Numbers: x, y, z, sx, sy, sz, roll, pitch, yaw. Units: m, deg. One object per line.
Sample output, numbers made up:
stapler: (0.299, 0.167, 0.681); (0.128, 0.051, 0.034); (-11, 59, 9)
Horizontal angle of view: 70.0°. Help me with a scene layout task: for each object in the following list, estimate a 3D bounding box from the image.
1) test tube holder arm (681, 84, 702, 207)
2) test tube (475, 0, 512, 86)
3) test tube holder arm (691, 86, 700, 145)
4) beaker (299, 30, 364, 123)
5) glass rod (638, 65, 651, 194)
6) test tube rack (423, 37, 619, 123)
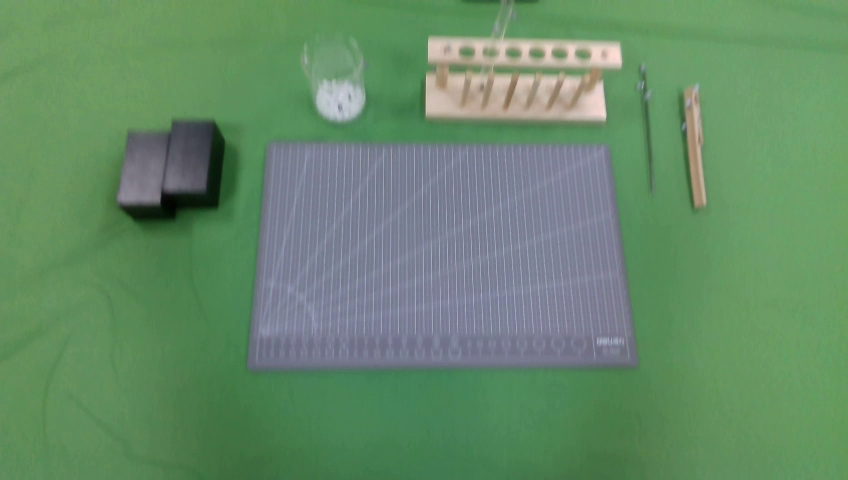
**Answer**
test tube holder arm: (0.355, -0.127, 0.805); (0.013, 0.015, 0.177); (16, 68, -28)
test tube: (0.084, -0.242, 0.748); (0.017, 0.151, 0.017); (3, 65, -6)
test tube holder arm: (0.364, -0.168, 0.823); (0.010, 0.015, 0.087); (17, 67, -28)
beaker: (-0.114, -0.200, 0.769); (0.074, 0.101, 0.083); (3, 70, -1)
glass rod: (0.297, -0.153, 0.819); (0.008, 0.008, 0.198); (4, 70, -1)
test tube rack: (0.121, -0.207, 0.790); (0.242, 0.085, 0.066); (1, 70, -2)
